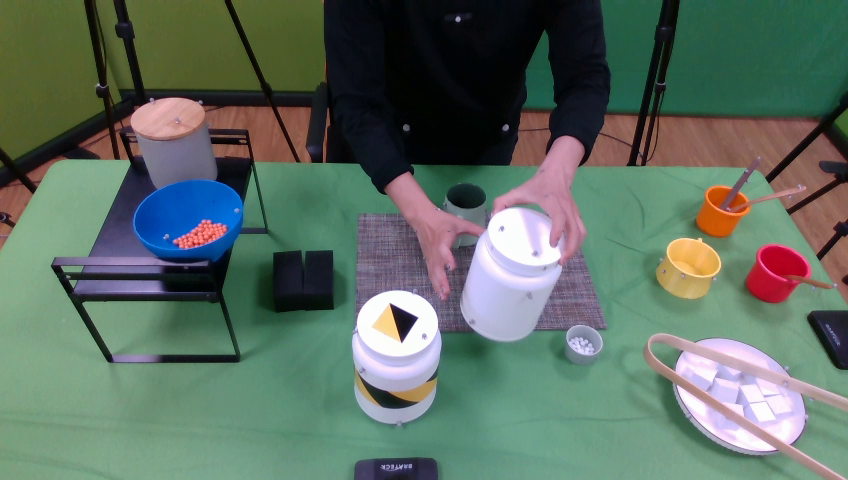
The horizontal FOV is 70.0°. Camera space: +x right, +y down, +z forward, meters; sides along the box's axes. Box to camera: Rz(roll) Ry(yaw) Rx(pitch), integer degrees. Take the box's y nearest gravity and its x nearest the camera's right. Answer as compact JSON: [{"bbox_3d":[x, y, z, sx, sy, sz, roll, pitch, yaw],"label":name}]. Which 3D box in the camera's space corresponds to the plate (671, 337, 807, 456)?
[{"bbox_3d":[0.504,0.254,0.984,0.208,0.039,0.206,2,46,-2],"label":"plate"}]

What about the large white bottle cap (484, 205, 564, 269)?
[{"bbox_3d":[0.143,-0.006,0.865,0.115,0.018,0.114,7,45,-7],"label":"large white bottle cap"}]

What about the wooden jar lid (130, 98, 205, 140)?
[{"bbox_3d":[-0.393,-0.183,0.934,0.108,0.021,0.107,2,44,-2],"label":"wooden jar lid"}]

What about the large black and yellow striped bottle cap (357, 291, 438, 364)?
[{"bbox_3d":[-0.037,0.121,0.851,0.115,0.019,0.114,1,46,-1],"label":"large black and yellow striped bottle cap"}]

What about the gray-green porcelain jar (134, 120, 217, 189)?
[{"bbox_3d":[-0.397,-0.141,0.979,0.106,0.127,0.105,2,47,-2],"label":"gray-green porcelain jar"}]

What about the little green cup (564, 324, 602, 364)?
[{"bbox_3d":[0.269,0.180,1.035,0.061,0.039,0.061,2,45,-1],"label":"little green cup"}]

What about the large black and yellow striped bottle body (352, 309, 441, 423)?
[{"bbox_3d":[-0.042,0.178,0.913,0.131,0.185,0.130,2,46,-2],"label":"large black and yellow striped bottle body"}]

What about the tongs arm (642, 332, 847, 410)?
[{"bbox_3d":[0.546,0.227,0.968,0.384,0.026,0.050,22,52,13],"label":"tongs arm"}]

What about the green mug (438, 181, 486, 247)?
[{"bbox_3d":[0.072,-0.039,1.178,0.092,0.105,0.124,12,47,7],"label":"green mug"}]

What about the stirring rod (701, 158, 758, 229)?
[{"bbox_3d":[0.634,-0.096,1.257,0.014,0.006,0.176,38,97,29],"label":"stirring rod"}]

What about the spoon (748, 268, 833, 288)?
[{"bbox_3d":[0.660,0.068,1.098,0.041,0.193,0.021,-4,91,-6],"label":"spoon"}]

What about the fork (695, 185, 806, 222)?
[{"bbox_3d":[0.657,-0.074,1.230,0.207,0.019,0.028,-23,37,37],"label":"fork"}]

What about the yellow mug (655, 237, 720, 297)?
[{"bbox_3d":[0.509,0.041,1.166,0.099,0.064,0.130,24,48,18],"label":"yellow mug"}]

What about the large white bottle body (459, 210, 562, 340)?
[{"bbox_3d":[0.132,0.051,0.926,0.131,0.185,0.130,6,47,-6],"label":"large white bottle body"}]

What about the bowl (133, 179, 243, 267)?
[{"bbox_3d":[-0.339,-0.013,0.895,0.151,0.077,0.150,2,46,-2],"label":"bowl"}]

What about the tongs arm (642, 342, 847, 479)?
[{"bbox_3d":[0.504,0.279,0.918,0.386,0.028,0.028,33,59,22],"label":"tongs arm"}]
